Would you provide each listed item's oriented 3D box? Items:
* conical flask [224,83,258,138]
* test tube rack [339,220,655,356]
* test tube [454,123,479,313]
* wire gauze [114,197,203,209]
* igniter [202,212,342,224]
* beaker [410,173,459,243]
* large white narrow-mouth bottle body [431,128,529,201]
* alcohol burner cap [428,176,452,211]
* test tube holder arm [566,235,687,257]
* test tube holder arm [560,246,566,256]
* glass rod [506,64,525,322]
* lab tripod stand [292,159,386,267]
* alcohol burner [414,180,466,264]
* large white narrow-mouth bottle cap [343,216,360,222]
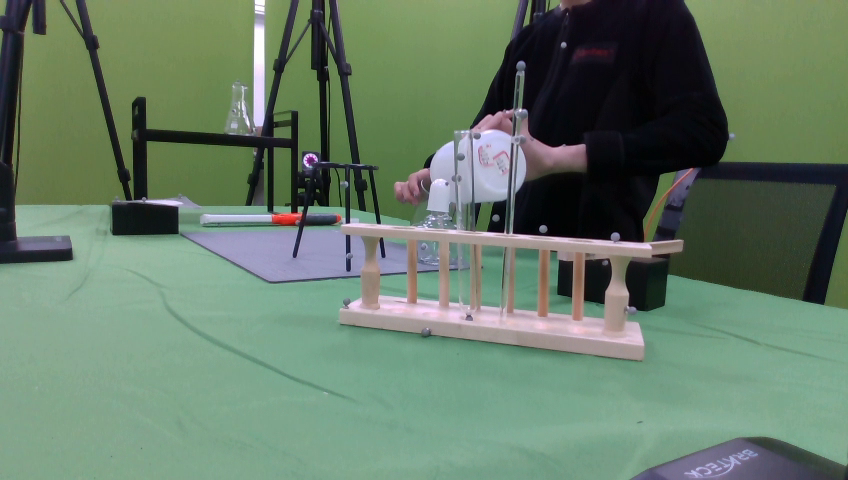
[{"bbox_3d":[-0.422,-0.299,1.395,0.075,0.122,0.075,2,7,0],"label":"conical flask"},{"bbox_3d":[0.056,0.032,0.495,0.242,0.085,0.067,4,7,15],"label":"test tube rack"},{"bbox_3d":[0.034,-0.016,0.477,0.017,0.150,0.017,-2,9,1],"label":"test tube"},{"bbox_3d":[-0.447,-0.062,1.015,0.126,0.011,0.121,-2,8,-31],"label":"wire gauze"},{"bbox_3d":[-0.298,-0.044,1.216,0.278,0.025,0.057,-2,-2,-32],"label":"igniter"},{"bbox_3d":[0.020,-0.051,1.037,0.074,0.100,0.083,6,35,-17],"label":"beaker"},{"bbox_3d":[0.068,-0.110,0.928,0.102,0.101,0.194,-2,2,-26],"label":"large white narrow-mouth bottle body"},{"bbox_3d":[0.023,-0.064,0.822,0.034,0.048,0.034,7,4,0],"label":"alcohol burner cap"},{"bbox_3d":[0.215,0.006,0.630,0.179,0.015,0.013,-3,9,-31],"label":"test tube holder arm"},{"bbox_3d":[0.173,0.007,0.611,0.088,0.015,0.010,-3,9,-30],"label":"test tube holder arm"},{"bbox_3d":[0.069,-0.030,0.458,0.008,0.199,0.008,0,15,0],"label":"glass rod"},{"bbox_3d":[-0.105,-0.039,0.798,0.148,0.131,0.148,2,5,0],"label":"lab tripod stand"},{"bbox_3d":[0.021,-0.028,0.826,0.078,0.119,0.078,0,6,0],"label":"alcohol burner"},{"bbox_3d":[-0.148,-0.036,1.234,0.038,0.024,0.037,2,8,0],"label":"large white narrow-mouth bottle cap"}]
